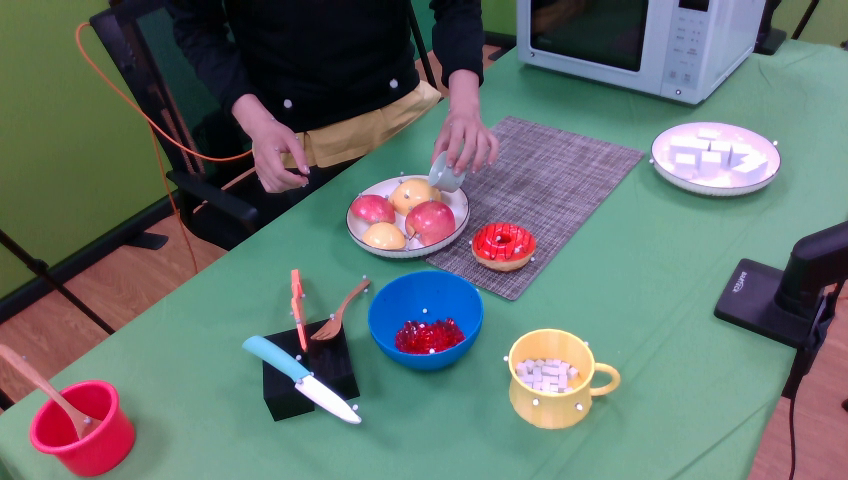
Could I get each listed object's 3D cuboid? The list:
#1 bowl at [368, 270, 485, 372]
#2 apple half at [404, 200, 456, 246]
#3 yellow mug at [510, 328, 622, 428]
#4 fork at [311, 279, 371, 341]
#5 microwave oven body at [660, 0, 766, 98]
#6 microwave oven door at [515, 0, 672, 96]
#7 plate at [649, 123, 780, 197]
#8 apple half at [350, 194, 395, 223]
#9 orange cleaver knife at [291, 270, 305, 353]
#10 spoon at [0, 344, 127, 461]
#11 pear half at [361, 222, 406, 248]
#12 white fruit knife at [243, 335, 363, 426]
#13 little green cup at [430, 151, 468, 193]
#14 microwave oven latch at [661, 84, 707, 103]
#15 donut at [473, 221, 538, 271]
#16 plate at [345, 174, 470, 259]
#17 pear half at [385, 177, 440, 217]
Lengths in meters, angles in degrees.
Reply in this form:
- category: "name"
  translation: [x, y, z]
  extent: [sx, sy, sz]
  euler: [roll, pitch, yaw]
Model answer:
- category: "bowl"
  translation: [0.007, 0.118, 0.791]
  extent: [0.151, 0.077, 0.150]
  euler: [-5, 40, 4]
- category: "apple half"
  translation: [0.009, -0.035, 0.969]
  extent: [0.075, 0.053, 0.080]
  euler: [-27, 40, -22]
- category: "yellow mug"
  translation: [0.169, 0.164, 0.722]
  extent: [0.130, 0.064, 0.099]
  euler: [0, 40, 8]
- category: "fork"
  translation: [-0.108, 0.092, 0.832]
  extent: [0.028, 0.019, 0.207]
  euler: [-6, 19, 15]
- category: "microwave oven body"
  translation: [0.472, -0.513, 1.317]
  extent: [0.438, 0.261, 0.327]
  euler: [26, 51, 34]
- category: "microwave oven door"
  translation: [0.343, -0.455, 1.259]
  extent: [0.353, 0.245, 0.039]
  euler: [26, 51, 33]
- category: "plate"
  translation: [0.497, -0.135, 1.046]
  extent: [0.207, 0.039, 0.206]
  euler: [-4, 40, 4]
- category: "apple half"
  translation: [-0.081, -0.058, 1.008]
  extent: [0.081, 0.033, 0.081]
  euler: [12, 23, -5]
- category: "orange cleaver knife"
  translation: [-0.175, 0.094, 0.844]
  extent: [0.012, 0.077, 0.210]
  euler: [-11, 14, -10]
- category: "spoon"
  translation: [-0.433, 0.191, 0.721]
  extent: [0.194, 0.021, 0.042]
  euler: [47, 53, -6]
- category: "pear half"
  translation: [-0.064, -0.012, 0.960]
  extent: [0.071, 0.031, 0.087]
  euler: [5, 21, -23]
- category: "white fruit knife"
  translation: [-0.148, 0.166, 0.730]
  extent: [0.206, 0.016, 0.027]
  euler: [26, 80, 31]
- category: "little green cup"
  translation: [0.040, -0.105, 0.951]
  extent: [0.039, 0.061, 0.061]
  euler: [24, 37, -18]
- category: "microwave oven latch"
  translation: [0.517, -0.296, 1.204]
  extent: [0.078, 0.029, 0.030]
  euler: [27, 52, 34]
- category: "donut"
  translation: [0.123, 0.008, 0.923]
  extent: [0.099, 0.048, 0.098]
  euler: [-3, 38, 3]
- category: "plate"
  translation: [-0.026, -0.037, 1.004]
  extent: [0.209, 0.038, 0.208]
  euler: [-4, 40, 4]
- category: "pear half"
  translation: [-0.030, -0.079, 1.033]
  extent: [0.109, 0.056, 0.076]
  euler: [-1, 36, 15]
